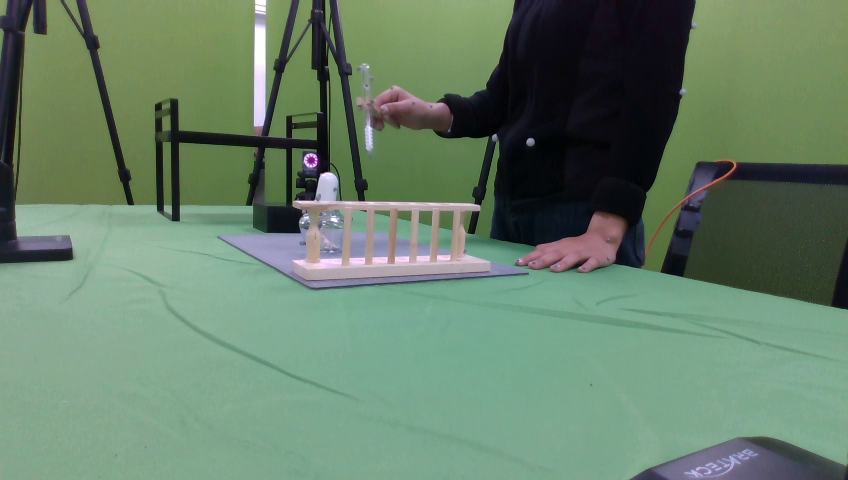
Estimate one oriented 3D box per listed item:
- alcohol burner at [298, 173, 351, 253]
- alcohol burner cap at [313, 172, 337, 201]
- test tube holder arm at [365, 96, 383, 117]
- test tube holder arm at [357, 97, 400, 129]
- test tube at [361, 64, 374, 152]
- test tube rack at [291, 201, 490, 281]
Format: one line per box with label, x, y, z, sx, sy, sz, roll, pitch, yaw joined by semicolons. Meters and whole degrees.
alcohol burner;-0.146;-0.040;0.894;0.078;0.119;0.078;5;7;0
alcohol burner cap;-0.144;-0.076;0.888;0.034;0.048;0.034;8;6;-1
test tube holder arm;-0.085;-0.228;1.039;0.010;0.015;0.088;-2;-3;10
test tube holder arm;-0.079;-0.225;1.083;0.013;0.015;0.179;-1;-3;17
test tube;-0.095;-0.222;1.017;0.017;0.150;0.017;-3;-3;0
test tube rack;-0.035;-0.002;0.745;0.243;0.085;0.066;-1;8;-28
